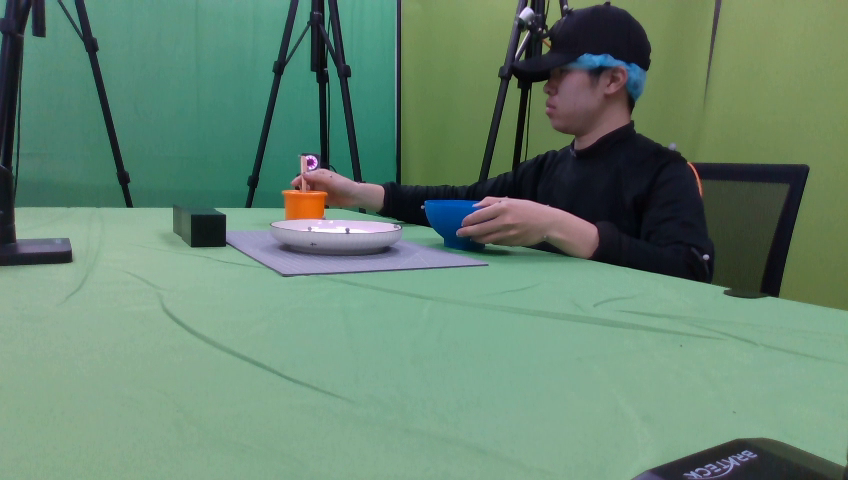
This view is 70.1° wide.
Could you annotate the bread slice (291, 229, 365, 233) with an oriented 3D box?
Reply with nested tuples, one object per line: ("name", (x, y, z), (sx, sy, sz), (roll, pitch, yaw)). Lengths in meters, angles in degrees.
("bread slice", (-0.143, -0.003, 0.953), (0.135, 0.018, 0.106), (-1, 8, -37))

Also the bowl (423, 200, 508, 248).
("bowl", (0.071, -0.028, 1.065), (0.151, 0.077, 0.151), (2, 7, 0))

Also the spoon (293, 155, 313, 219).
("spoon", (-0.253, -0.108, 1.269), (0.042, 0.193, 0.021), (0, -32, -10))

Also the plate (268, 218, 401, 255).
("plate", (-0.140, -0.006, 0.958), (0.209, 0.038, 0.209), (3, 7, 0))
